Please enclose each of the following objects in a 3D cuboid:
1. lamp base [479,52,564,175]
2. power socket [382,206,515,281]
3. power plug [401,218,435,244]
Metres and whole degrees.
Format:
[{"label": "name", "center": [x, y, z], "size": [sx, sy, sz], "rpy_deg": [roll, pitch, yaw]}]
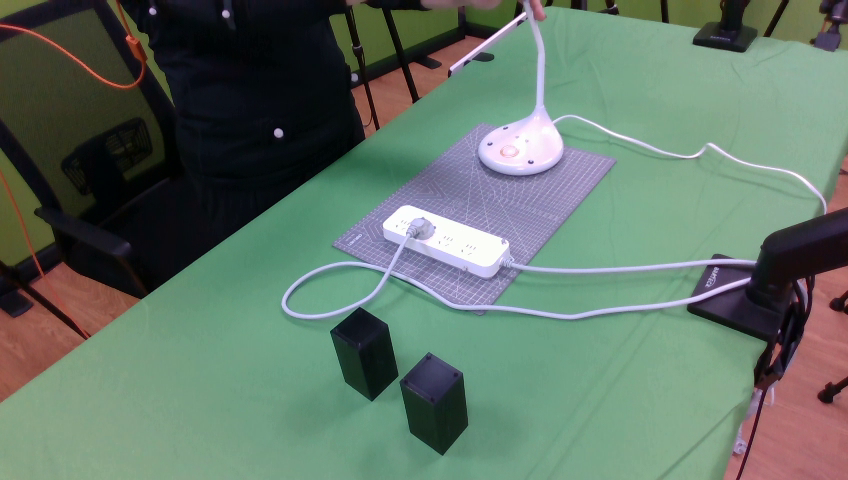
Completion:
[{"label": "lamp base", "center": [0.181, -0.236, 1.095], "size": [0.159, 0.181, 0.179], "rpy_deg": [20, 44, 28]}, {"label": "power socket", "center": [0.032, 0.002, 0.950], "size": [0.225, 0.033, 0.072], "rpy_deg": [21, 49, 29]}, {"label": "power plug", "center": [-0.014, -0.005, 0.937], "size": [0.073, 0.053, 0.035], "rpy_deg": [-38, 47, -26]}]
